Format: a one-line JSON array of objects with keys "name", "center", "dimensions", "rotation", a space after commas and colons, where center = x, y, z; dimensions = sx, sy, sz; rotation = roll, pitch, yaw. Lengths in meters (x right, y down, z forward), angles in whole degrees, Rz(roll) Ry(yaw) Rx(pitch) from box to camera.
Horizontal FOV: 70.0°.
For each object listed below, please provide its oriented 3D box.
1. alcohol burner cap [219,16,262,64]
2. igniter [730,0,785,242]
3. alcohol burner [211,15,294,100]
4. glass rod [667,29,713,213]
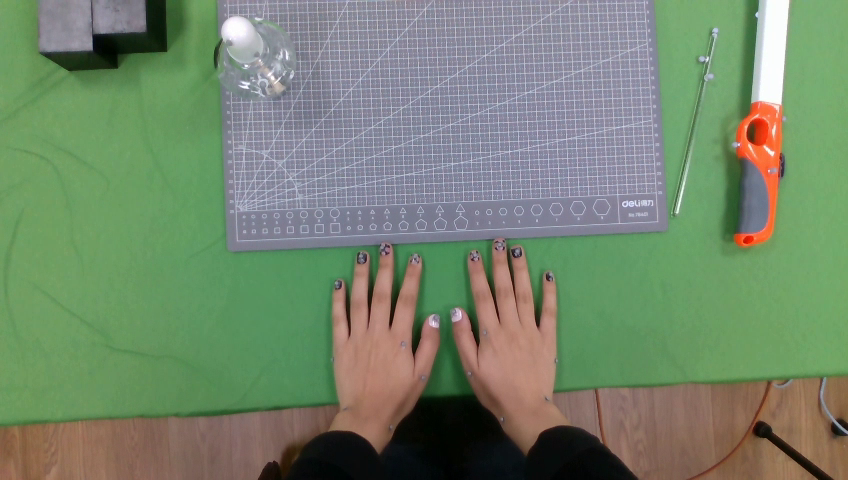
[{"name": "alcohol burner cap", "center": [-0.160, -0.175, 0.525], "dimensions": [0.034, 0.048, 0.034], "rotation": [0, 90, -6]}, {"name": "igniter", "center": [0.348, -0.134, 0.627], "dimensions": [0.057, 0.025, 0.276], "rotation": [7, 88, -12]}, {"name": "alcohol burner", "center": [-0.163, -0.174, 0.561], "dimensions": [0.078, 0.119, 0.077], "rotation": [0, 85, -1]}, {"name": "glass rod", "center": [0.278, -0.126, 0.634], "dimensions": [0.008, 0.008, 0.199], "rotation": [14, 88, -2]}]
